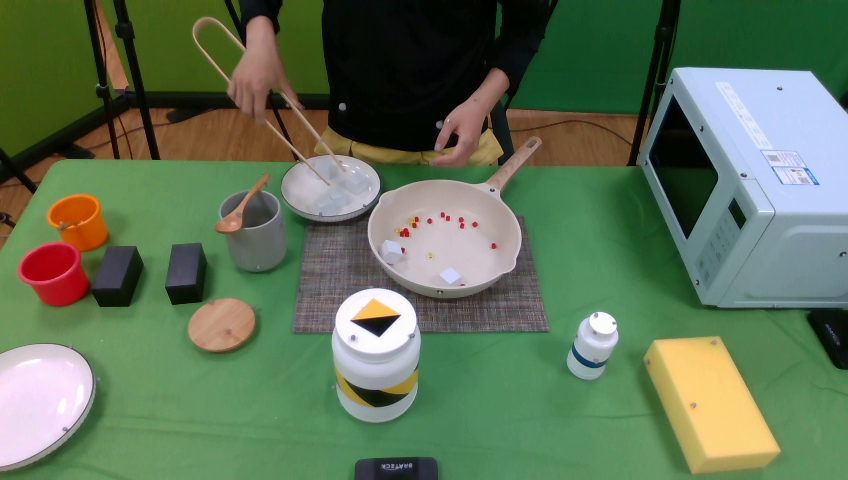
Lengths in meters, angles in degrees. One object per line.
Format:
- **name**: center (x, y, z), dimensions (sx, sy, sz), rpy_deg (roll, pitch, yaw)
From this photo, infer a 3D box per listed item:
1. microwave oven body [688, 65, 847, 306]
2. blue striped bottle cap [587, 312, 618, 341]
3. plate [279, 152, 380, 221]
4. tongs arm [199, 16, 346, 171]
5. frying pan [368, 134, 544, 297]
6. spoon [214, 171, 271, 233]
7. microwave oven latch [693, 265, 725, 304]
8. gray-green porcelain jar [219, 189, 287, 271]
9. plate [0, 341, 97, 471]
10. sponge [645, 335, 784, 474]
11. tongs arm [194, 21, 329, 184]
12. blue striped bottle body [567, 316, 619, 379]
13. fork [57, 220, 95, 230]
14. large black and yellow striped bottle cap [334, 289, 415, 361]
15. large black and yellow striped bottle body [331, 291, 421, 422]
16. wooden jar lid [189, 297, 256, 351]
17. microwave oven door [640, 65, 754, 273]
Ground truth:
- **microwave oven body**: center (0.669, -0.111, 1.176), dimensions (0.326, 0.261, 0.439), rpy_deg (0, 46, -3)
- **blue striped bottle cap**: center (0.279, 0.134, 0.947), dimensions (0.044, 0.021, 0.044), rpy_deg (2, 44, -2)
- **plate**: center (-0.196, -0.108, 1.269), dimensions (0.208, 0.039, 0.206), rpy_deg (2, 45, -2)
- **tongs arm**: center (-0.289, -0.275, 1.164), dimensions (0.051, 0.026, 0.385), rpy_deg (-38, 94, -5)
- **frying pan**: center (0.104, -0.069, 1.205), dimensions (0.305, 0.103, 0.487), rpy_deg (32, 61, 23)
- **spoon**: center (-0.312, -0.070, 1.070), dimensions (0.041, 0.022, 0.193), rpy_deg (9, 43, 10)
- **microwave oven latch**: center (0.523, 0.081, 1.116), dimensions (0.030, 0.029, 0.078), rpy_deg (2, 46, -1)
- **gray-green porcelain jar**: center (-0.309, -0.014, 1.113), dimensions (0.106, 0.127, 0.105), rpy_deg (2, 46, -2)
- **plate**: center (-0.599, 0.247, 0.904), dimensions (0.209, 0.038, 0.208), rpy_deg (2, 47, -2)
- **sponge**: center (0.449, 0.253, 0.956), dimensions (0.118, 0.061, 0.205), rpy_deg (-4, 46, -7)
- **tongs arm**: center (-0.310, -0.257, 1.161), dimensions (0.028, 0.028, 0.388), rpy_deg (-41, 95, -1)
- **blue striped bottle body**: center (0.276, 0.168, 0.984), dimensions (0.063, 0.121, 0.062), rpy_deg (2, 46, -2)
- **fork**: center (-0.624, -0.027, 1.086), dimensions (0.028, 0.207, 0.018), rpy_deg (-3, 92, -17)
- **large black and yellow striped bottle cap**: center (-0.069, 0.117, 0.850), dimensions (0.115, 0.019, 0.114), rpy_deg (2, 45, -2)
- **large black and yellow striped bottle body**: center (-0.071, 0.175, 0.911), dimensions (0.131, 0.185, 0.130), rpy_deg (2, 47, -2)
- **wooden jar lid**: center (-0.342, 0.145, 1.033), dimensions (0.108, 0.021, 0.107), rpy_deg (2, 45, -2)
- **microwave oven door**: center (0.523, -0.147, 1.193), dimensions (0.039, 0.245, 0.353), rpy_deg (0, 47, -3)
